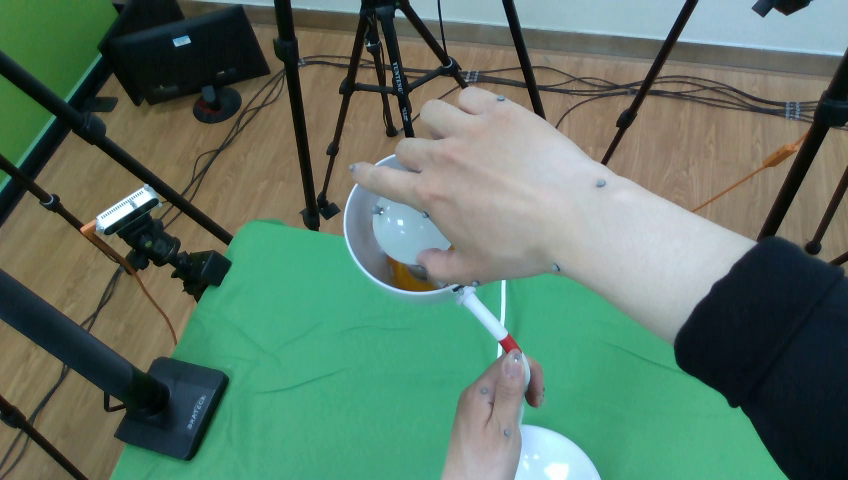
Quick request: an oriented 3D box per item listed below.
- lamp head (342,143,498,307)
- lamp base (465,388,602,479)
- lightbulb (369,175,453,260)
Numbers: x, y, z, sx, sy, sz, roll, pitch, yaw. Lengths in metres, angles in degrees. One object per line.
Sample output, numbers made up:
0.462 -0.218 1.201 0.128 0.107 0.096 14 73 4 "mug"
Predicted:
0.003 0.002 0.477 0.112 0.124 0.111 -2 67 6 "lamp head"
0.112 0.240 0.645 0.161 0.182 0.177 -24 56 -8 "lamp base"
-0.008 -0.009 0.449 0.059 0.108 0.059 -1 74 2 "lightbulb"
